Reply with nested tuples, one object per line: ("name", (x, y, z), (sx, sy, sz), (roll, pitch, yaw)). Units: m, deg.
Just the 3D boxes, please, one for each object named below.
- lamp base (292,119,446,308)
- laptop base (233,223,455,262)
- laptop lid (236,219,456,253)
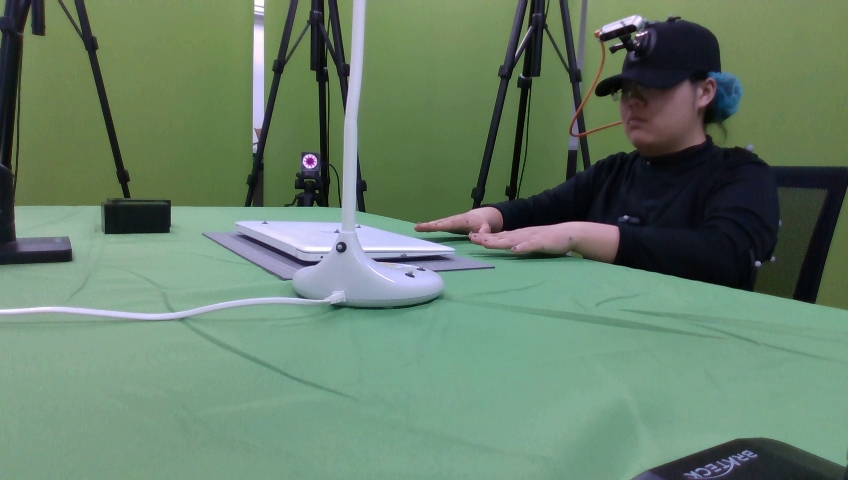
("lamp base", (-0.056, -0.030, 0.616), (0.160, 0.180, 0.179), (3, 10, 8))
("laptop base", (-0.142, 0.003, 0.959), (0.237, 0.023, 0.352), (2, 6, -32))
("laptop lid", (-0.139, -0.009, 0.959), (0.243, 0.013, 0.355), (1, 7, -30))
